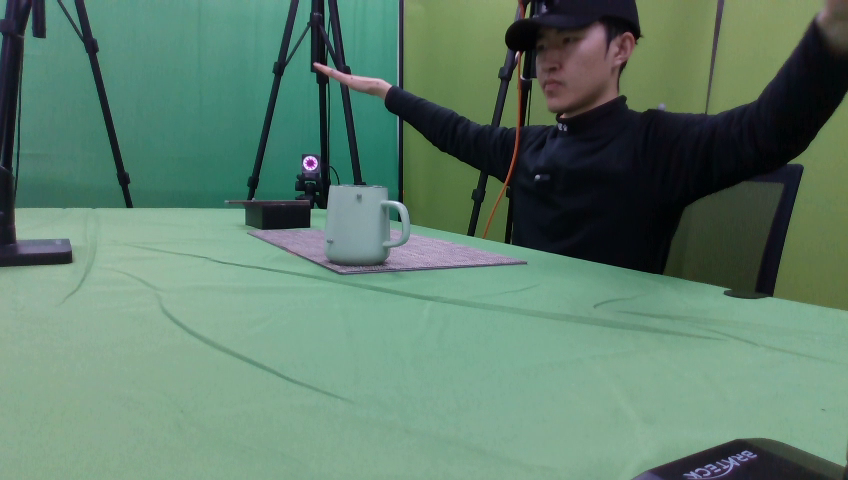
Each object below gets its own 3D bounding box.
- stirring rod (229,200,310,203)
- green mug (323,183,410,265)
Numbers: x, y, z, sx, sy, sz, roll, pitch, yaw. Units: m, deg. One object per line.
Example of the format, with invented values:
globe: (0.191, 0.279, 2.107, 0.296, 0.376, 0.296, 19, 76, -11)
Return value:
stirring rod: (-0.314, -0.080, 1.240, 0.177, 0.006, 0.014, -4, 8, -40)
green mug: (-0.076, -0.022, 0.817, 0.125, 0.105, 0.093, 5, 7, 26)
